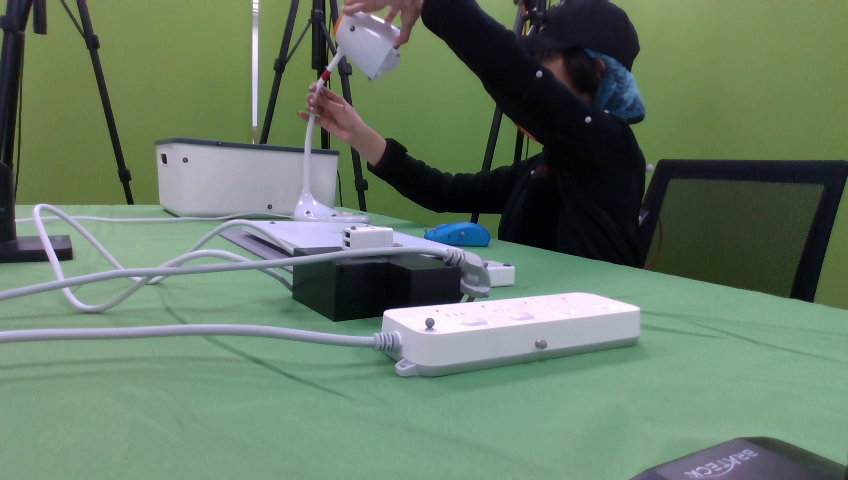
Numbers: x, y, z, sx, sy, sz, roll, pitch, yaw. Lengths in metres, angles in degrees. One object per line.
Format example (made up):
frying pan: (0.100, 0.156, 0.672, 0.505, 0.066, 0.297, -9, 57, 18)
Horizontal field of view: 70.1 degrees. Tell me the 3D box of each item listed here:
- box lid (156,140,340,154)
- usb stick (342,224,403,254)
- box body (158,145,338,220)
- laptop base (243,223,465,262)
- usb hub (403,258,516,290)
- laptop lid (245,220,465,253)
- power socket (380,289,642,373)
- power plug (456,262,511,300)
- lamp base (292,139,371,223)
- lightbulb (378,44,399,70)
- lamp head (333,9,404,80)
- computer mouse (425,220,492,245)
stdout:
box lid: (-0.409, -0.212, 1.404, 0.373, 0.015, 0.262, -2, 8, -32)
usb stick: (-0.047, -0.001, 0.567, 0.059, 0.027, 0.021, 0, 5, -32)
box body: (-0.410, -0.139, 1.414, 0.366, 0.160, 0.253, -3, 8, -33)
laptop base: (-0.126, 0.003, 0.946, 0.237, 0.023, 0.352, 2, 6, -31)
usb hub: (0.042, 0.038, 0.690, 0.126, 0.025, 0.049, -2, 10, -30)
laptop lid: (-0.124, -0.009, 0.945, 0.243, 0.013, 0.355, 1, 7, -29)
power socket: (0.072, 0.064, 0.461, 0.228, 0.032, 0.072, -2, 8, -30)
power plug: (0.052, 0.051, 0.543, 0.035, 0.052, 0.072, 6, 38, -20)
lamp base: (-0.201, -0.121, 1.253, 0.179, 0.180, 0.161, 0, 6, 16)
lightbulb: (-0.097, -0.376, 1.175, 0.108, 0.059, 0.059, 38, 6, -5)
lamp head: (-0.118, -0.387, 1.180, 0.123, 0.112, 0.112, 29, 6, -5)
computer mouse: (0.060, -0.013, 1.060, 0.117, 0.041, 0.062, -2, 9, -6)
